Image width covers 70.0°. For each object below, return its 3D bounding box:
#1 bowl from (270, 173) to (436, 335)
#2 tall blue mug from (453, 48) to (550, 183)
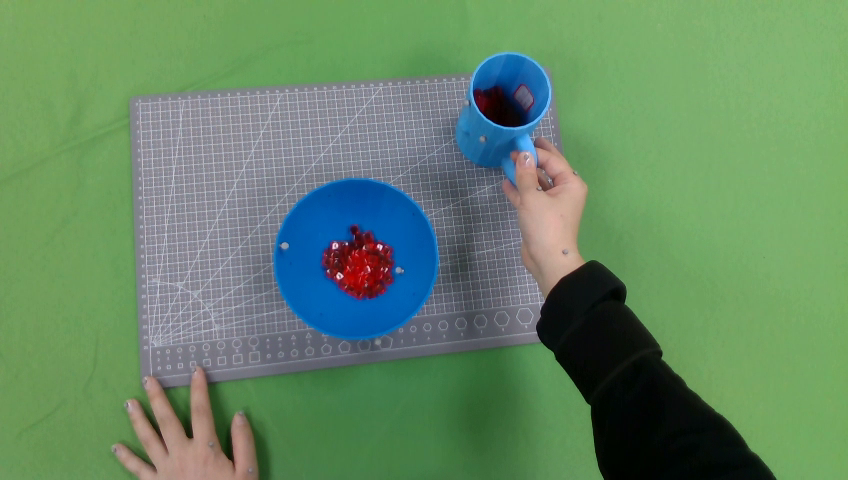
[{"bbox_3d":[-0.066,0.018,0.584,0.151,0.077,0.151,1,81,-5],"label":"bowl"},{"bbox_3d":[0.085,-0.120,0.604,0.107,0.108,0.077,42,78,3],"label":"tall blue mug"}]
